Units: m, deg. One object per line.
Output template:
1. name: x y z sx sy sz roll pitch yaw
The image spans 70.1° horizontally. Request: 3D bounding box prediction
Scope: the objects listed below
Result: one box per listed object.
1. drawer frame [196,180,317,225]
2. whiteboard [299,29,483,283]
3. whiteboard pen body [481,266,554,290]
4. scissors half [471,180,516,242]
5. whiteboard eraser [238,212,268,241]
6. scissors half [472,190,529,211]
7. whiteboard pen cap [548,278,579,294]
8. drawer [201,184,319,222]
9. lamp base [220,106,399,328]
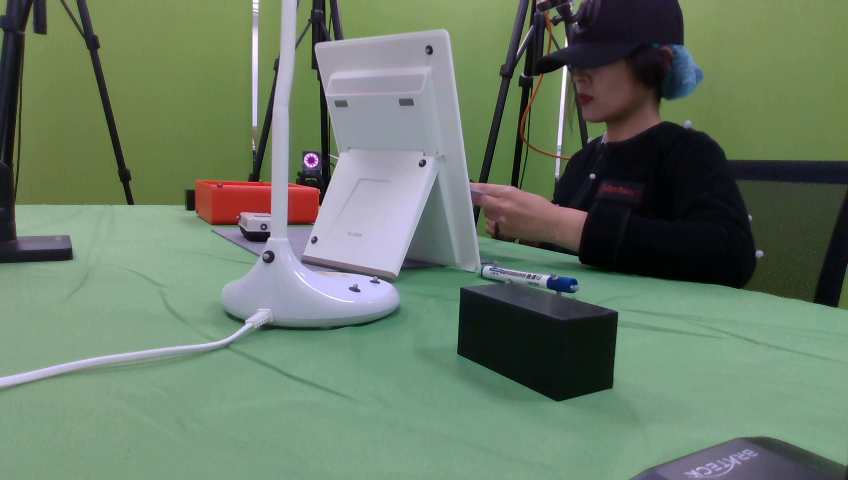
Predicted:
1. drawer frame: -0.359 -0.083 1.292 0.215 0.082 0.200 -2 10 -30
2. whiteboard: -0.074 -0.082 0.742 0.216 0.305 0.144 9 29 38
3. whiteboard pen body: 0.115 0.044 0.695 0.017 0.017 0.140 -3 6 -35
4. scissors half: 0.131 -0.054 1.150 0.013 0.040 0.176 14 -30 46
5. whiteboard eraser: -0.272 -0.024 0.998 0.056 0.042 0.112 -2 9 -24
6. scissors half: 0.141 -0.077 1.152 0.176 0.040 0.012 -2 15 -41
7. whiteboard pen cap: 0.148 0.049 0.647 0.018 0.018 0.033 -3 3 -35
8. drawer: -0.353 -0.082 1.296 0.213 0.073 0.193 -2 10 -28
9. lamp base: -0.102 -0.023 0.531 0.160 0.180 0.179 4 10 10
